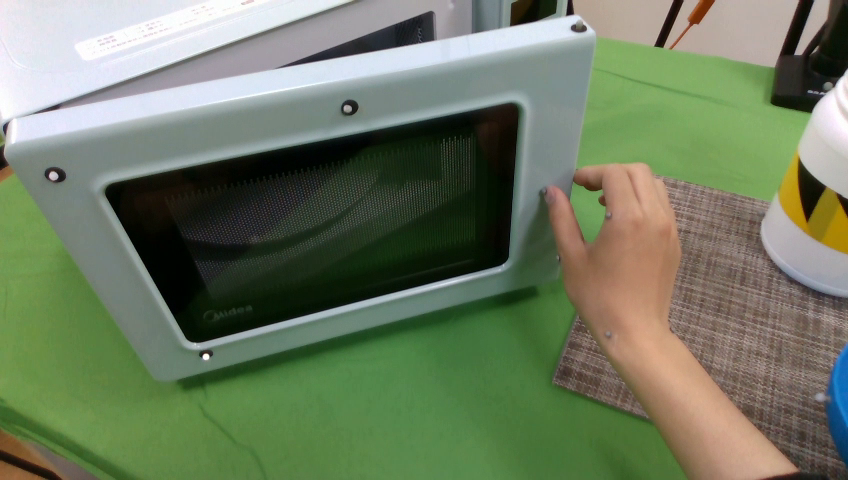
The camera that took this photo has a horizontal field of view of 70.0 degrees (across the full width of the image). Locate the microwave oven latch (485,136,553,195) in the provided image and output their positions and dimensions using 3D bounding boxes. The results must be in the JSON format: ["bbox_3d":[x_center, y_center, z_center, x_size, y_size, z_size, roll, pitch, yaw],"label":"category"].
[{"bbox_3d":[0.101,-0.079,0.645,0.079,0.030,0.030,-28,51,-21],"label":"microwave oven latch"}]

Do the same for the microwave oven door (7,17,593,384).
[{"bbox_3d":[-0.057,-0.016,0.449,0.356,0.246,0.039,-14,46,-10],"label":"microwave oven door"}]

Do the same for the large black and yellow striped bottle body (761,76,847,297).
[{"bbox_3d":[0.386,-0.054,0.516,0.131,0.186,0.129,-2,45,2],"label":"large black and yellow striped bottle body"}]

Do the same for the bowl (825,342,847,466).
[{"bbox_3d":[0.341,0.137,0.404,0.151,0.077,0.150,-2,45,3],"label":"bowl"}]

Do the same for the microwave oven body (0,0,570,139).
[{"bbox_3d":[-0.135,-0.148,0.592,0.442,0.263,0.322,-30,51,-22],"label":"microwave oven body"}]
